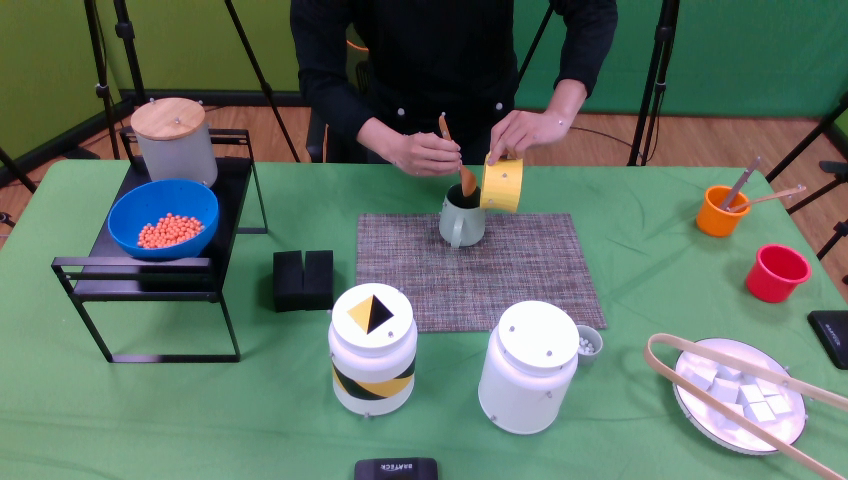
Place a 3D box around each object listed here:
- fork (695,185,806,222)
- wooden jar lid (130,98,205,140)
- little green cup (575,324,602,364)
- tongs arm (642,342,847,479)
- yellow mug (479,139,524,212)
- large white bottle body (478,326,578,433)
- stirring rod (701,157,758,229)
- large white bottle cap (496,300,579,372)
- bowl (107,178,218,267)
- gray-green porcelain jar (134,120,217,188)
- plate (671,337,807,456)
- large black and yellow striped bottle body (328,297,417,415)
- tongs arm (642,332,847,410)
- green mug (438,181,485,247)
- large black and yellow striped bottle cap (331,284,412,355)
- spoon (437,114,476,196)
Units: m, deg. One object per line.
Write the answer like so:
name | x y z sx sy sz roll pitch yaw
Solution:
fork | 0.658 -0.074 1.229 0.207 0.019 0.028 -23 35 37
wooden jar lid | -0.393 -0.183 0.934 0.108 0.021 0.107 2 44 -2
little green cup | 0.269 0.179 1.036 0.061 0.039 0.061 3 46 -2
tongs arm | 0.504 0.279 0.918 0.386 0.028 0.028 33 59 22
yellow mug | 0.140 -0.118 1.086 0.064 0.131 0.099 8 27 1
large white bottle body | 0.156 0.192 0.913 0.131 0.185 0.130 2 46 -2
stirring rod | 0.634 -0.097 1.257 0.014 0.006 0.176 38 97 29
large white bottle cap | 0.160 0.133 0.852 0.115 0.018 0.114 3 46 -2
bowl | -0.374 -0.014 0.893 0.151 0.077 0.150 2 46 -2
gray-green porcelain jar | -0.397 -0.141 0.979 0.106 0.127 0.105 2 47 -2
plate | 0.504 0.254 0.984 0.208 0.039 0.206 2 46 -2
large black and yellow striped bottle body | -0.078 0.167 0.920 0.131 0.185 0.130 2 46 -2
tongs arm | 0.546 0.227 0.968 0.384 0.026 0.050 22 52 13
green mug | 0.072 -0.039 1.178 0.092 0.105 0.124 12 47 7
large black and yellow striped bottle cap | -0.073 0.111 0.858 0.115 0.019 0.114 2 46 -1
spoon | 0.055 -0.145 1.055 0.021 0.195 0.041 26 68 40
